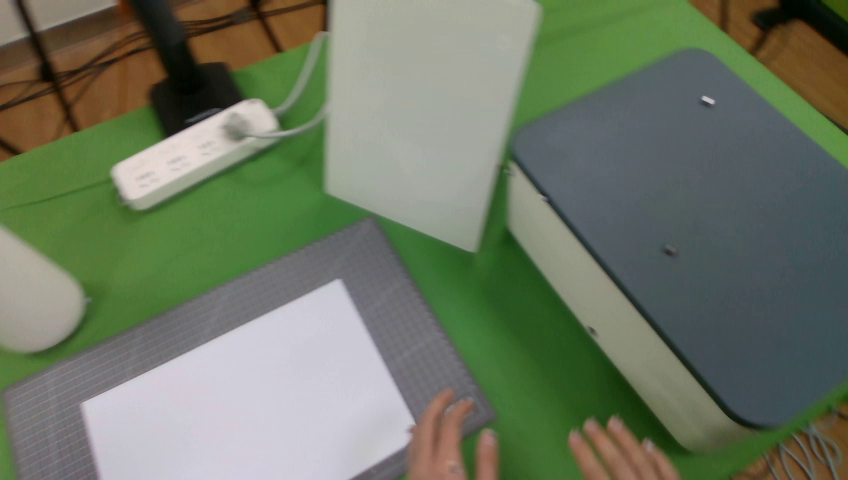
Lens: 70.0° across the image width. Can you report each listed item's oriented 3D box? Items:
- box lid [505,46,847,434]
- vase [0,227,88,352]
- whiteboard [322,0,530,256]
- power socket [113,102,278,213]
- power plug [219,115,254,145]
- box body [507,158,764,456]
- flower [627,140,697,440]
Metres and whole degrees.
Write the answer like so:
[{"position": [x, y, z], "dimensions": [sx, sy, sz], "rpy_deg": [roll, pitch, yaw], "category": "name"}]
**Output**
[{"position": [0.275, -0.034, 0.573], "dimensions": [0.263, 0.015, 0.368], "rpy_deg": [-28, 62, -13], "category": "box lid"}, {"position": [-0.437, 0.041, 0.621], "dimensions": [0.098, 0.202, 0.097], "rpy_deg": [-2, 59, 3], "category": "vase"}, {"position": [0.011, -0.169, 0.704], "dimensions": [0.216, 0.308, 0.143], "rpy_deg": [23, 43, 16], "category": "whiteboard"}, {"position": [-0.300, -0.113, 0.805], "dimensions": [0.227, 0.033, 0.071], "rpy_deg": [-32, 64, -16], "category": "power socket"}, {"position": [-0.243, -0.131, 0.787], "dimensions": [0.035, 0.053, 0.072], "rpy_deg": [-23, 62, -11], "category": "power plug"}, {"position": [0.279, 0.007, 0.636], "dimensions": [0.254, 0.162, 0.360], "rpy_deg": [-28, 62, -14], "category": "box body"}, {"position": [0.274, 0.041, 0.688], "dimensions": [0.044, 0.038, 0.358], "rpy_deg": [-16, 58, 31], "category": "flower"}]
